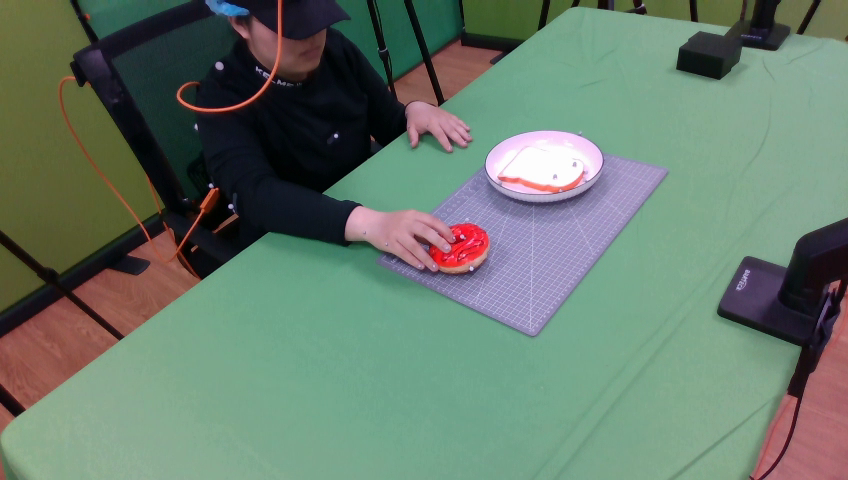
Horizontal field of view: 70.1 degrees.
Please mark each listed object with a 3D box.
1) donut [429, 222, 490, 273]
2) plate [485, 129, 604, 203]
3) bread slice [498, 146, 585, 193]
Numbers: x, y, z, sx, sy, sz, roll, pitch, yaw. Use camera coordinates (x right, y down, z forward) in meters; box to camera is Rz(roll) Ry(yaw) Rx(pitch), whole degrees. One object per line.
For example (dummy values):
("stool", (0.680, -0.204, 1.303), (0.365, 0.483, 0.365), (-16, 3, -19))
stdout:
("donut", (0.054, 0.011, 0.932), (0.099, 0.048, 0.098), (-12, 37, 10))
("plate", (0.213, -0.129, 1.079), (0.209, 0.038, 0.208), (-5, 40, 5))
("bread slice", (0.216, -0.125, 1.076), (0.133, 0.018, 0.107), (16, 47, 28))
